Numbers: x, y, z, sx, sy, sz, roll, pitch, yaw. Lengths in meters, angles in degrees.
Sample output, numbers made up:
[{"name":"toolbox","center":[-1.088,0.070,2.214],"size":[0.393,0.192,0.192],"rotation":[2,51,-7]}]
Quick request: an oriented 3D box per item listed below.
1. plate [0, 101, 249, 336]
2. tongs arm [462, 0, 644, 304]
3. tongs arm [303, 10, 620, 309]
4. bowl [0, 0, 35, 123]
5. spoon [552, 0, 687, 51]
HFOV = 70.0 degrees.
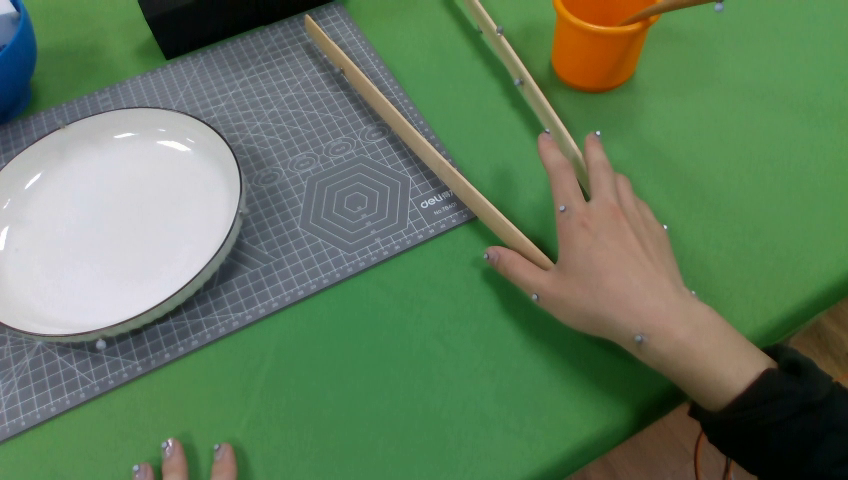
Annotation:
[{"name":"plate","center":[-0.236,-0.019,0.469],"size":[0.207,0.039,0.205],"rotation":[-1,59,2]},{"name":"tongs arm","center":[0.079,-0.117,0.515],"size":[0.051,0.027,0.381],"rotation":[-21,62,-12]},{"name":"tongs arm","center":[0.007,-0.081,0.498],"size":[0.028,0.028,0.384],"rotation":[-32,64,-21]},{"name":"bowl","center":[-0.411,-0.153,0.538],"size":[0.151,0.077,0.150],"rotation":[-2,59,3]},{"name":"spoon","center":[0.173,-0.182,0.483],"size":[0.041,0.192,0.022],"rotation":[-47,111,-19]}]
